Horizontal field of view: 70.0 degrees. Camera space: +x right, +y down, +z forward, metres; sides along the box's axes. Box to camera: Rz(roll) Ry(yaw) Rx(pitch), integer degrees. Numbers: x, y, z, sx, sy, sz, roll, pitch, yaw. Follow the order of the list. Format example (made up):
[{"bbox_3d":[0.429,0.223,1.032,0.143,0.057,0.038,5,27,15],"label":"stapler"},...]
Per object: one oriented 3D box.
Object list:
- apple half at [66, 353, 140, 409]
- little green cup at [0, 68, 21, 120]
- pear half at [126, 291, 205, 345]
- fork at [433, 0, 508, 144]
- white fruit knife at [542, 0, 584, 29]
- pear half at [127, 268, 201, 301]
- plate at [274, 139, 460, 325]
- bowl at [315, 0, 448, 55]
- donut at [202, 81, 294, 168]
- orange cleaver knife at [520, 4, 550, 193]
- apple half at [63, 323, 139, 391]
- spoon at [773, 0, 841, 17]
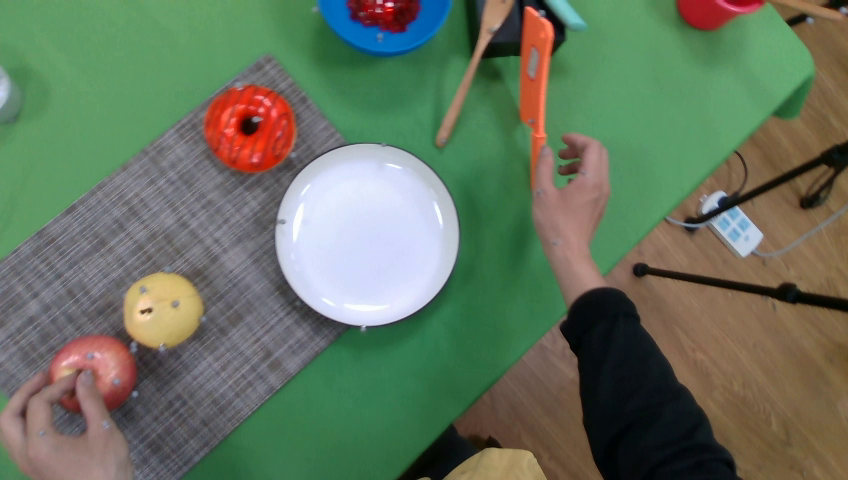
[{"bbox_3d":[-0.319,0.151,0.622,0.081,0.081,0.033,-38,88,-9],"label":"apple half"},{"bbox_3d":[-0.466,-0.157,0.643,0.062,0.038,0.061,1,86,-8],"label":"little green cup"},{"bbox_3d":[-0.266,0.079,0.617,0.076,0.110,0.056,-12,87,-6],"label":"pear half"},{"bbox_3d":[0.054,-0.207,0.700,0.028,0.018,0.208,20,104,-12],"label":"fork"},{"bbox_3d":[0.113,-0.326,0.703,0.207,0.016,0.027,50,52,-1],"label":"white fruit knife"},{"bbox_3d":[-0.272,0.045,0.628,0.070,0.088,0.031,-12,87,-4],"label":"pear half"},{"bbox_3d":[-0.063,-0.010,0.689,0.209,0.038,0.208,1,86,-9],"label":"plate"},{"bbox_3d":[-0.052,-0.275,0.693,0.152,0.077,0.151,1,86,-9],"label":"bowl"},{"bbox_3d":[-0.195,-0.128,0.674,0.099,0.048,0.099,0,88,-6],"label":"donut"},{"bbox_3d":[0.127,-0.162,0.710,0.012,0.076,0.213,-10,117,-11],"label":"orange cleaver knife"},{"bbox_3d":[-0.337,0.119,0.624,0.053,0.074,0.081,26,96,-7],"label":"apple half"},{"bbox_3d":[0.397,-0.295,0.728,0.041,0.022,0.191,-47,50,-9],"label":"spoon"}]
